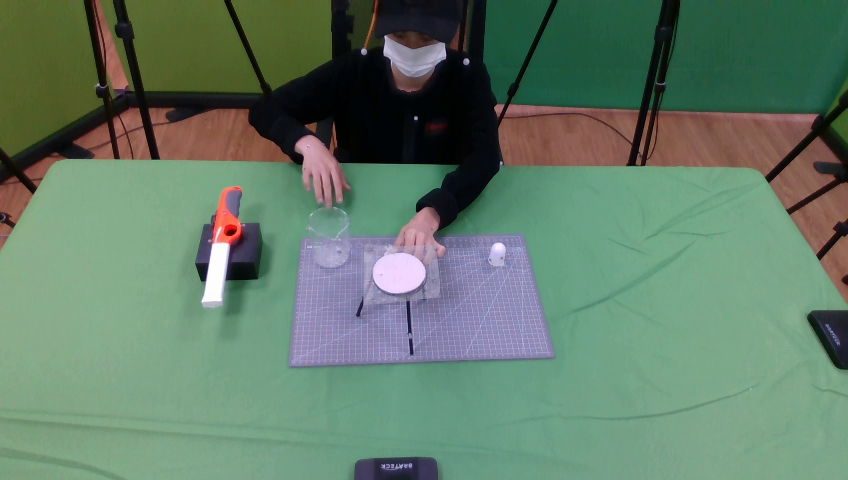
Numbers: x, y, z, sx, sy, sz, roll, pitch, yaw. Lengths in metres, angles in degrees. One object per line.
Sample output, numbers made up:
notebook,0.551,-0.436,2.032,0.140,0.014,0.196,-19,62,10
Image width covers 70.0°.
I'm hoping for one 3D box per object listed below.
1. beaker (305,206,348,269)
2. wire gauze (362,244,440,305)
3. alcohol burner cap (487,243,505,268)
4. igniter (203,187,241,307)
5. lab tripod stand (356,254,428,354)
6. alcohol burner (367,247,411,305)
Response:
beaker,-0.177,0.001,1.126,0.074,0.101,0.083,-13,49,-16
wire gauze,-0.038,0.051,0.971,0.121,0.011,0.124,-1,46,-4
alcohol burner cap,0.141,0.027,1.166,0.034,0.048,0.033,2,45,-2
igniter,-0.365,0.003,1.098,0.057,0.025,0.274,-1,49,-7
lab tripod stand,-0.046,0.100,1.017,0.148,0.132,0.147,1,47,-1
alcohol burner,-0.062,0.058,1.070,0.078,0.120,0.077,2,44,-1
